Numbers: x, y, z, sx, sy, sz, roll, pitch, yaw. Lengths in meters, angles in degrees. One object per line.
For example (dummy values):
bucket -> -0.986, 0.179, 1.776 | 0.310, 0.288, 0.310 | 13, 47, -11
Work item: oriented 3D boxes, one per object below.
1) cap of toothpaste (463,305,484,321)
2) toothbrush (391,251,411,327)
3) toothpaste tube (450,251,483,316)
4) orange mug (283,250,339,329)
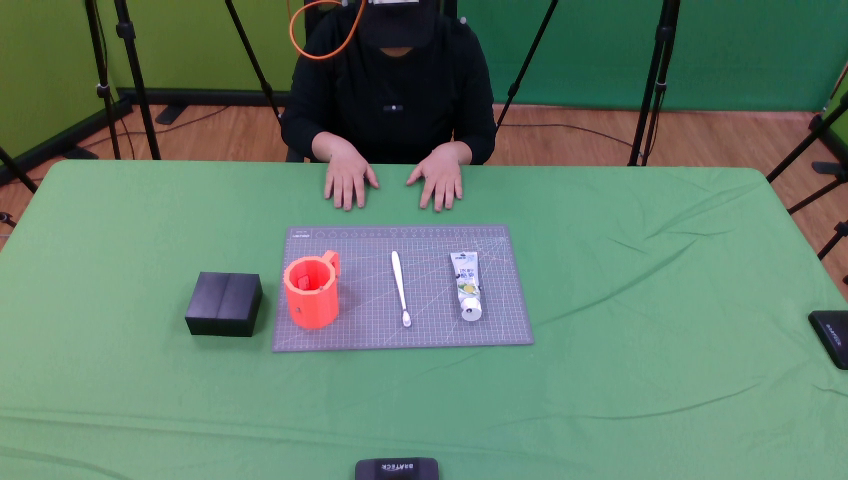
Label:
cap of toothpaste -> 0.087, 0.127, 1.064 | 0.037, 0.037, 0.011 | 2, 40, -2
toothbrush -> -0.044, 0.085, 1.112 | 0.014, 0.017, 0.180 | -14, 46, 1
toothpaste tube -> 0.085, 0.077, 1.122 | 0.055, 0.035, 0.164 | 3, 41, -8
orange mug -> -0.186, 0.078, 1.052 | 0.083, 0.101, 0.126 | 20, 52, 15
